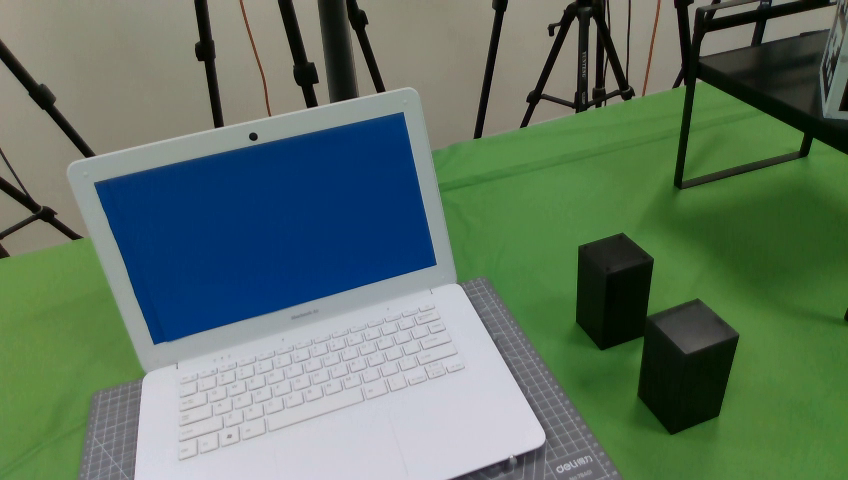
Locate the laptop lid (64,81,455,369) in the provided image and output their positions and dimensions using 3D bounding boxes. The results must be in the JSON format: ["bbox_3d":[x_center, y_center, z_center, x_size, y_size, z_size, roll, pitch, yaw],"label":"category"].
[{"bbox_3d":[-0.153,-0.014,0.639,0.357,0.243,0.013,-17,18,-10],"label":"laptop lid"}]

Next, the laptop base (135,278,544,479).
[{"bbox_3d":[-0.093,0.157,0.583,0.355,0.023,0.233,-16,39,-11],"label":"laptop base"}]
